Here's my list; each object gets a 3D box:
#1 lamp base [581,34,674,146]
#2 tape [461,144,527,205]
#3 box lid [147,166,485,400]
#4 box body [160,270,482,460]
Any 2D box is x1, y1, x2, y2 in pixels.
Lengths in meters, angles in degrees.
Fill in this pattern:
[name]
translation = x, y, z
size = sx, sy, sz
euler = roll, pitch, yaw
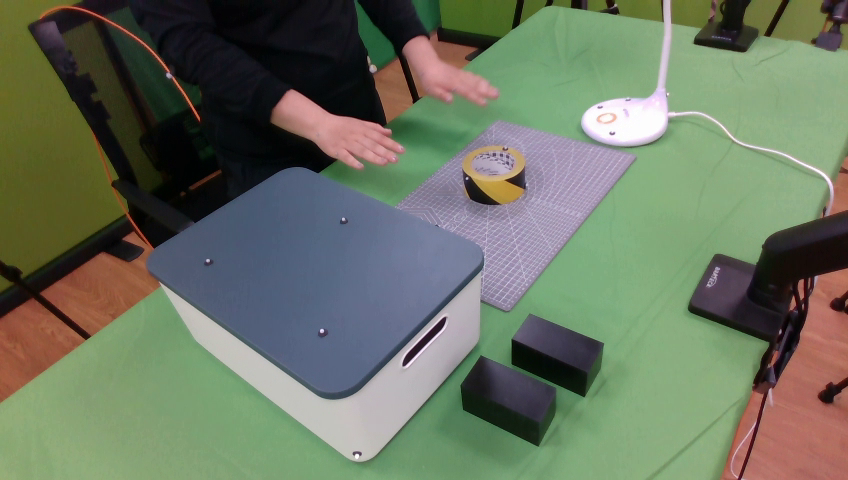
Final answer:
[lamp base]
translation = 0.392, -0.291, 1.129
size = 0.180, 0.181, 0.159
euler = -11, 41, -8
[tape]
translation = 0.124, -0.116, 1.058
size = 0.117, 0.053, 0.116
euler = -4, 42, 4
[box lid]
translation = -0.136, 0.025, 0.738
size = 0.368, 0.015, 0.264
euler = 25, 50, 32
[box body]
translation = -0.130, 0.079, 0.787
size = 0.361, 0.161, 0.255
euler = 25, 50, 32
